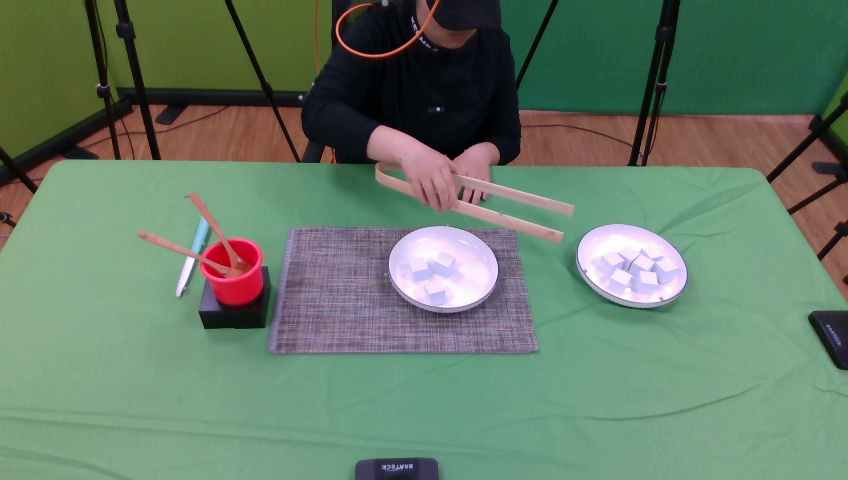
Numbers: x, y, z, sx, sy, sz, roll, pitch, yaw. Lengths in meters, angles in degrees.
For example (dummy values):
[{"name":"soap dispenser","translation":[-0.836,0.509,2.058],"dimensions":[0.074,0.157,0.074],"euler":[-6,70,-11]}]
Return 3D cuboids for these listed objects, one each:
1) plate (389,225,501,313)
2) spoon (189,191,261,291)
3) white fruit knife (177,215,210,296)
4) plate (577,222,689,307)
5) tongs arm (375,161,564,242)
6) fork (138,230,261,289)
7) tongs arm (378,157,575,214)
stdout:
[{"name":"plate","translation":[0.038,0.057,1.129],"dimensions":[0.208,0.039,0.206],"euler":[2,46,-2]},{"name":"spoon","translation":[-0.333,0.001,1.011],"dimensions":[0.041,0.194,0.021],"euler":[-34,15,-25]},{"name":"white fruit knife","translation":[-0.435,0.025,1.148],"dimensions":[0.027,0.016,0.206],"euler":[-17,45,18]},{"name":"plate","translation":[0.396,0.050,1.165],"dimensions":[0.209,0.038,0.208],"euler":[2,47,-2]},{"name":"tongs arm","translation":[0.076,-0.075,1.127],"dimensions":[0.384,0.026,0.050],"euler":[18,44,14]},{"name":"fork","translation":[-0.360,0.032,0.981],"dimensions":[0.208,0.018,0.028],"euler":[31,60,-30]},{"name":"tongs arm","translation":[0.096,-0.106,1.165],"dimensions":[0.387,0.028,0.028],"euler":[15,47,11]}]
